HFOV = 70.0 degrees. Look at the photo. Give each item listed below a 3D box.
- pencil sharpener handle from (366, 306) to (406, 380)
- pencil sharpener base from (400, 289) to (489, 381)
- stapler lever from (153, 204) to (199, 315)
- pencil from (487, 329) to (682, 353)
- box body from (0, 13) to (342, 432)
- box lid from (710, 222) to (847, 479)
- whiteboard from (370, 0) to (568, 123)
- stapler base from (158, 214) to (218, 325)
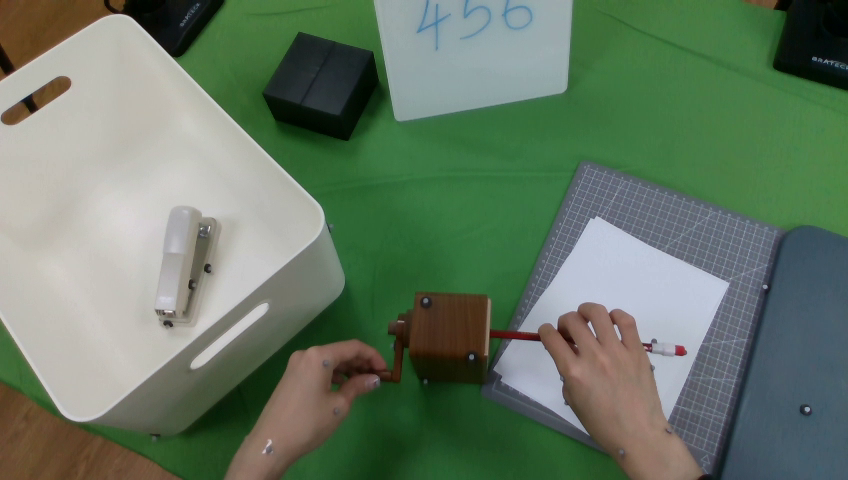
[{"bbox_3d":[-0.033,0.092,0.548,0.030,0.036,0.067,3,66,6],"label":"pencil sharpener handle"},{"bbox_3d":[0.021,0.092,0.575,0.076,0.108,0.061,3,66,6],"label":"pencil sharpener base"},{"bbox_3d":[-0.261,0.018,0.637,0.027,0.040,0.117,2,68,7],"label":"stapler lever"},{"bbox_3d":[0.130,0.087,0.531,0.194,0.012,0.012,5,65,-2],"label":"pencil"},{"bbox_3d":[-0.286,-0.018,0.613,0.254,0.161,0.361,-42,70,-14],"label":"box body"},{"bbox_3d":[0.430,0.171,0.567,0.262,0.015,0.370,22,69,12],"label":"box lid"},{"bbox_3d":[0.042,-0.316,0.685,0.217,0.308,0.142,-10,46,0],"label":"whiteboard"},{"bbox_3d":[-0.260,0.027,0.661,0.041,0.024,0.129,2,67,7],"label":"stapler base"}]
